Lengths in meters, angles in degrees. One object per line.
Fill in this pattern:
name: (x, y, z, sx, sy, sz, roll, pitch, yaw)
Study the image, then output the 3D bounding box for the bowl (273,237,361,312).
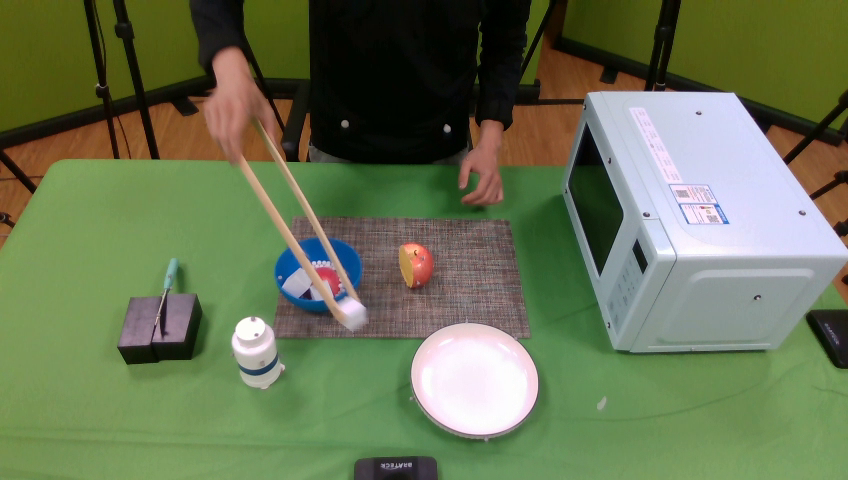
bowl: (-0.186, 0.074, 1.070, 0.151, 0.077, 0.150, 3, 46, -2)

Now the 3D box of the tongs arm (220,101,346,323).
tongs arm: (-0.215, -0.045, 0.940, 0.051, 0.026, 0.384, -32, 86, -32)

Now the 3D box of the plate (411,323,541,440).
plate: (0.082, 0.228, 0.976, 0.208, 0.039, 0.206, 2, 45, -2)

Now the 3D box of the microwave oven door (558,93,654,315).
microwave oven door: (0.327, -0.074, 1.123, 0.039, 0.245, 0.353, 0, 46, -5)

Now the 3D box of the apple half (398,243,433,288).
apple half: (-0.012, 0.046, 1.115, 0.053, 0.075, 0.080, -11, 44, -19)

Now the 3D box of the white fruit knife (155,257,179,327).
white fruit knife: (-0.440, 0.085, 1.037, 0.016, 0.027, 0.206, 10, 26, -19)

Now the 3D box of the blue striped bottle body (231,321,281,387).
blue striped bottle body: (-0.262, 0.171, 0.944, 0.063, 0.121, 0.062, 2, 46, -2)

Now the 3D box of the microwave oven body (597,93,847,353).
microwave oven body: (0.475, -0.041, 1.110, 0.326, 0.261, 0.438, -1, 45, -4)

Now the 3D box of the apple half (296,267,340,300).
apple half: (-0.187, 0.071, 1.067, 0.081, 0.033, 0.081, 3, 47, -2)

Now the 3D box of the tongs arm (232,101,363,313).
tongs arm: (-0.197, -0.054, 0.952, 0.028, 0.028, 0.387, -27, 84, -28)

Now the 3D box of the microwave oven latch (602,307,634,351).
microwave oven latch: (0.332, 0.153, 1.044, 0.030, 0.029, 0.078, -1, 45, -4)

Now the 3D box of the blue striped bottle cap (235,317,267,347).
blue striped bottle cap: (-0.260, 0.137, 0.907, 0.044, 0.021, 0.044, 3, 43, -2)
